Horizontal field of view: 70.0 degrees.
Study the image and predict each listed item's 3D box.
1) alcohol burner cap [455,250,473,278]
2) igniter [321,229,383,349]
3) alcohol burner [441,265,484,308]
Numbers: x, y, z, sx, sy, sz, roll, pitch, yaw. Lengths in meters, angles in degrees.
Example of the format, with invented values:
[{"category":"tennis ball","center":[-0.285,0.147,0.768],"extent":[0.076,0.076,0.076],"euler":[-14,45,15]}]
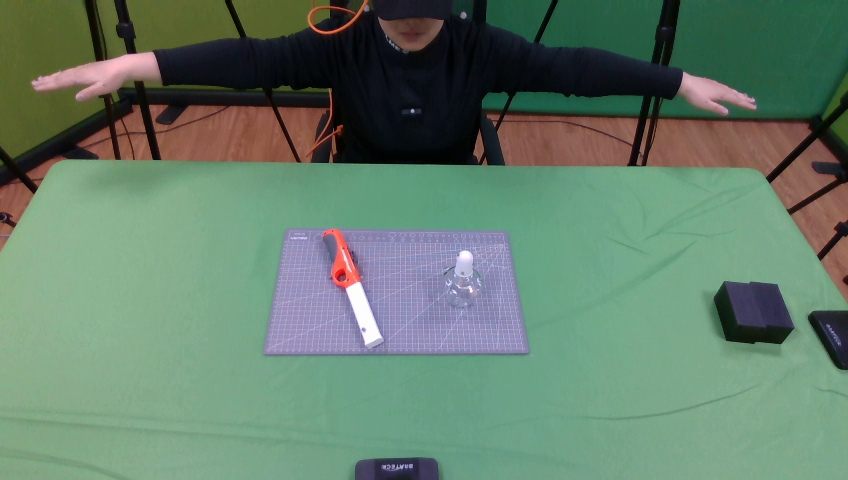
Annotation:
[{"category":"alcohol burner cap","center":[0.070,0.040,1.048],"extent":[0.034,0.048,0.033],"euler":[1,43,-1]},{"category":"igniter","center":[-0.134,0.078,1.102],"extent":[0.057,0.025,0.274],"euler":[-28,53,0]},{"category":"alcohol burner","center":[0.069,0.064,1.075],"extent":[0.078,0.120,0.077],"euler":[1,45,-1]}]
